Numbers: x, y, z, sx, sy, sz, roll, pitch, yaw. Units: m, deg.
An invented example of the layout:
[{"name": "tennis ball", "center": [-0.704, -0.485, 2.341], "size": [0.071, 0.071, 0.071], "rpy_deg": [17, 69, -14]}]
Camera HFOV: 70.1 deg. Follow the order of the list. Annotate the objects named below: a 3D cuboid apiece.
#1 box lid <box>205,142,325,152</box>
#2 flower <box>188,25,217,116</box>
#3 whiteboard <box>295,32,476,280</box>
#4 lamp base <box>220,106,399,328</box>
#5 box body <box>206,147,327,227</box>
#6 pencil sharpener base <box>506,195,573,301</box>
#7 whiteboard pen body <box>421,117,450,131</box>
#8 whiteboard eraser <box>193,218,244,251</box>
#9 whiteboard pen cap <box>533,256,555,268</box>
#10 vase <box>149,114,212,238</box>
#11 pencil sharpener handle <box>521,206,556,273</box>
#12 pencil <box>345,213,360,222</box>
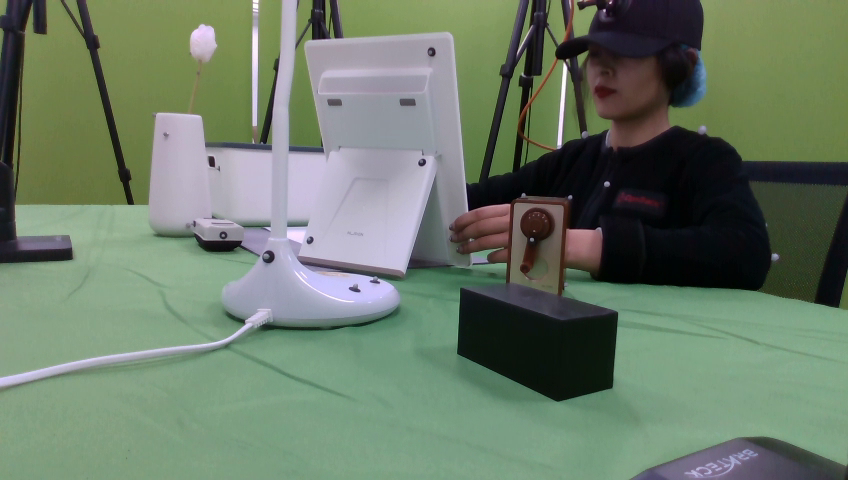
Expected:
[{"name": "box lid", "center": [-0.270, -0.196, 1.310], "size": [0.373, 0.015, 0.262], "rpy_deg": [-2, 9, -30]}, {"name": "flower", "center": [-0.394, -0.189, 1.011], "size": [0.044, 0.361, 0.038], "rpy_deg": [-1, -13, 27]}, {"name": "whiteboard", "center": [-0.076, -0.084, 0.747], "size": [0.216, 0.305, 0.144], "rpy_deg": [7, 28, 29]}, {"name": "lamp base", "center": [-0.102, -0.023, 0.531], "size": [0.160, 0.180, 0.179], "rpy_deg": [4, 10, 10]}, {"name": "box body", "center": [-0.276, -0.122, 1.320], "size": [0.366, 0.160, 0.253], "rpy_deg": [-2, 9, -30]}, {"name": "pencil sharpener base", "center": [0.127, 0.007, 0.662], "size": [0.061, 0.107, 0.077], "rpy_deg": [5, 8, 15]}, {"name": "whiteboard pen body", "center": [0.018, -0.189, 0.991], "size": [0.017, 0.017, 0.141], "rpy_deg": [5, 16, 17]}, {"name": "whiteboard eraser", "center": [-0.307, -0.009, 0.900], "size": [0.056, 0.042, 0.112], "rpy_deg": [-3, 10, -29]}, {"name": "whiteboard pen cap", "center": [0.167, 0.031, 0.840], "size": [0.018, 0.018, 0.033], "rpy_deg": [-1, -2, -25]}, {"name": "vase", "center": [-0.405, -0.106, 1.005], "size": [0.098, 0.200, 0.098], "rpy_deg": [2, 6, 0]}, {"name": "pencil sharpener handle", "center": [0.111, 0.000, 0.612], "size": [0.036, 0.067, 0.031], "rpy_deg": [13, 10, 14]}, {"name": "pencil", "center": [-0.159, -0.052, 1.365], "size": [0.012, 0.012, 0.194], "rpy_deg": [3, 6, 1]}]
